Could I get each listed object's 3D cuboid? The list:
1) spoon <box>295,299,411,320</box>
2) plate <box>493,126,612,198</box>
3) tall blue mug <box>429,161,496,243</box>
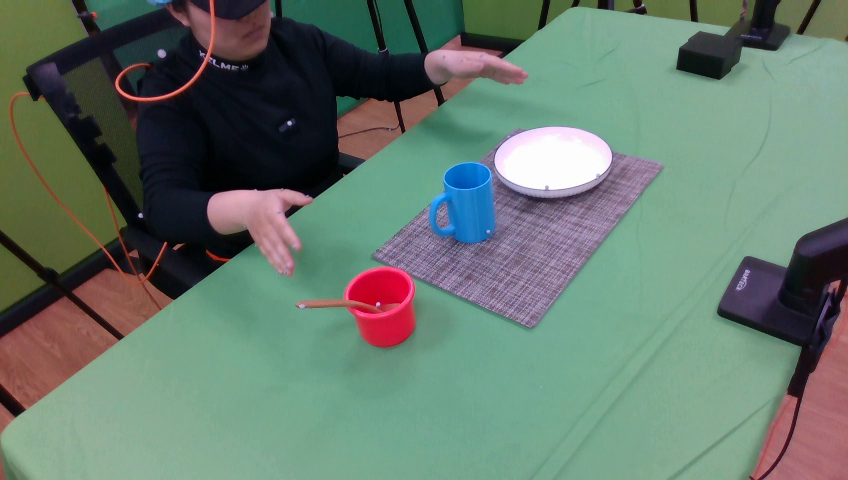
[{"bbox_3d":[-0.090,0.089,0.805,0.195,0.021,0.041,15,12,-47],"label":"spoon"},{"bbox_3d":[0.229,-0.136,1.085,0.207,0.039,0.206,-5,40,5],"label":"plate"},{"bbox_3d":[0.066,-0.051,0.960,0.077,0.108,0.107,17,47,27],"label":"tall blue mug"}]
